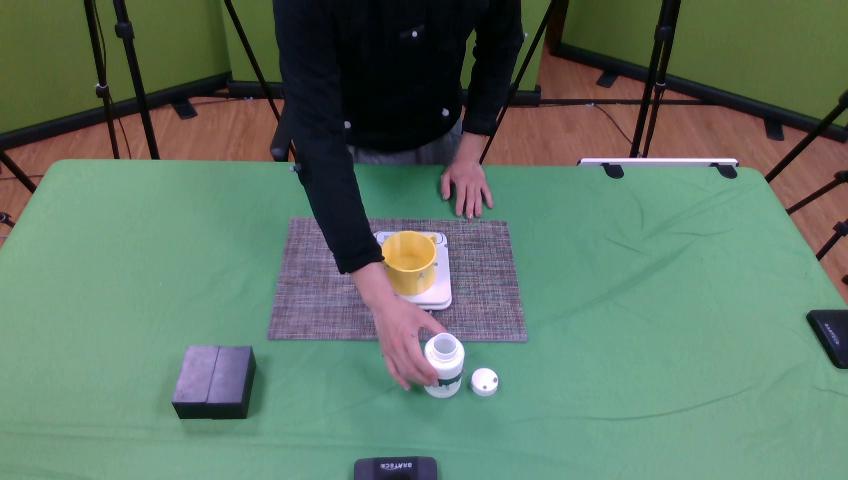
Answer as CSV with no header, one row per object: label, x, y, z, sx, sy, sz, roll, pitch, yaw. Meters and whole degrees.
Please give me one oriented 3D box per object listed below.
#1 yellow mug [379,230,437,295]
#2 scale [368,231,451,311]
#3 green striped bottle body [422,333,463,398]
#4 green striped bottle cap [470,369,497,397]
yellow mug,-0.020,0.031,1.089,0.099,0.064,0.130,31,51,24
scale,-0.029,0.049,1.136,0.149,0.032,0.199,1,46,-4
green striped bottle body,0.028,0.193,0.945,0.063,0.120,0.063,1,49,-1
green striped bottle cap,0.097,0.232,0.989,0.044,0.020,0.044,2,40,-1
